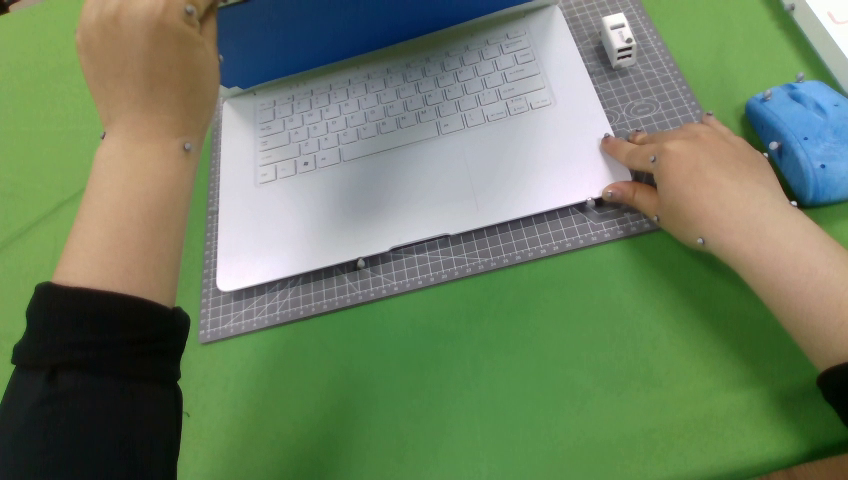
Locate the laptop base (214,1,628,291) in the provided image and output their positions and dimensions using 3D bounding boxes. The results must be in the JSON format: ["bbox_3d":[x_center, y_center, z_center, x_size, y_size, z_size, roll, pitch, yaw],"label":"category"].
[{"bbox_3d":[-0.024,-0.093,0.555,0.354,0.023,0.233,-15,60,5],"label":"laptop base"}]

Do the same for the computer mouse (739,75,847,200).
[{"bbox_3d":[0.290,-0.084,0.455,0.063,0.041,0.116,-15,52,8],"label":"computer mouse"}]

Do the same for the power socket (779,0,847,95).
[{"bbox_3d":[0.354,-0.209,0.518,0.072,0.033,0.224,-12,56,9],"label":"power socket"}]

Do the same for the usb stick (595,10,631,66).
[{"bbox_3d":[0.172,-0.190,0.557,0.021,0.027,0.058,-13,53,9],"label":"usb stick"}]

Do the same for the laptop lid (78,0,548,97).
[{"bbox_3d":[-0.055,-0.186,0.497,0.356,0.241,0.013,-14,93,7],"label":"laptop lid"}]
